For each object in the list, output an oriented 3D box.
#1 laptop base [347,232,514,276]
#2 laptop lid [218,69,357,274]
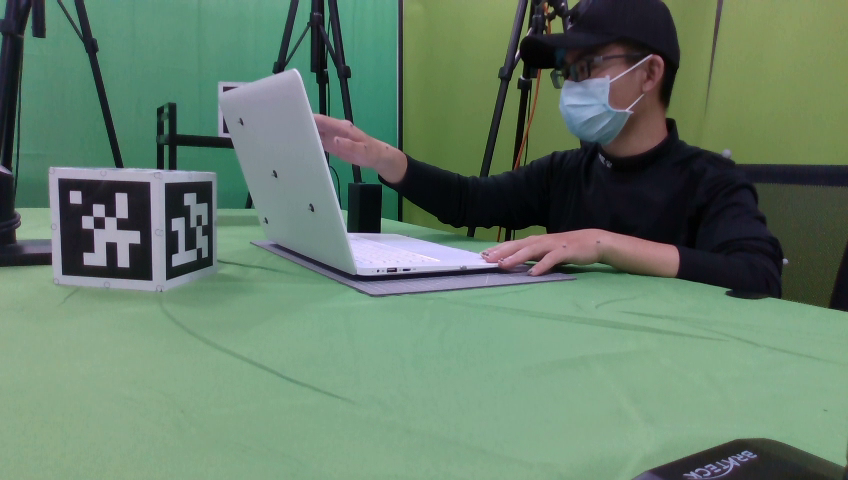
[{"bbox_3d":[-0.066,0.017,0.893,0.237,0.023,0.352,2,6,-32],"label":"laptop base"},{"bbox_3d":[-0.195,-0.090,0.798,0.013,0.242,0.355,-23,20,-27],"label":"laptop lid"}]
